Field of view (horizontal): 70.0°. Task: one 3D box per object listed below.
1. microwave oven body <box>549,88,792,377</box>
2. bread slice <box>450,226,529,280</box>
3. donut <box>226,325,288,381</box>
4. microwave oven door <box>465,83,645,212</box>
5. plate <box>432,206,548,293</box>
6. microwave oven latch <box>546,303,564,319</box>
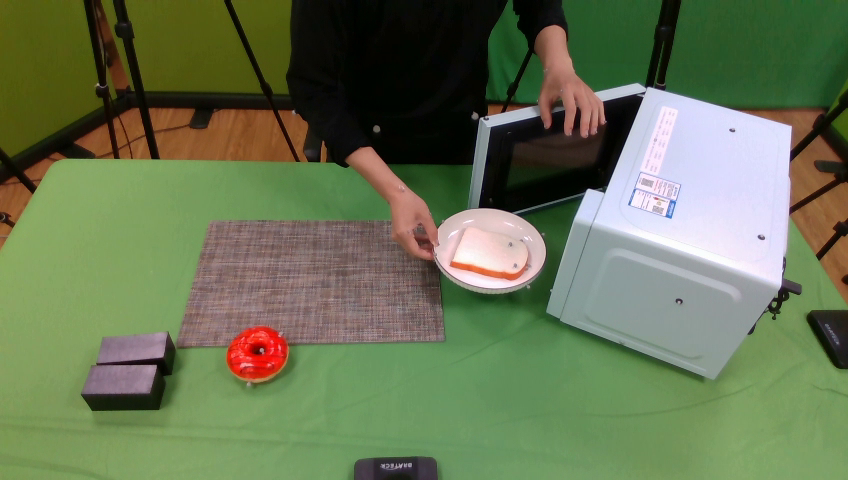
[{"bbox_3d":[0.456,-0.028,1.088,0.325,0.261,0.440,20,47,16],"label":"microwave oven body"},{"bbox_3d":[0.123,0.023,1.096,0.131,0.019,0.104,13,47,12],"label":"bread slice"},{"bbox_3d":[-0.270,0.182,0.984,0.099,0.048,0.098,5,49,-5],"label":"donut"},{"bbox_3d":[0.258,-0.172,1.204,0.356,0.245,0.039,-16,50,-18],"label":"microwave oven door"},{"bbox_3d":[0.117,0.020,1.097,0.208,0.039,0.206,2,45,-1],"label":"plate"},{"bbox_3d":[0.242,0.102,1.081,0.030,0.029,0.079,22,48,17],"label":"microwave oven latch"}]
